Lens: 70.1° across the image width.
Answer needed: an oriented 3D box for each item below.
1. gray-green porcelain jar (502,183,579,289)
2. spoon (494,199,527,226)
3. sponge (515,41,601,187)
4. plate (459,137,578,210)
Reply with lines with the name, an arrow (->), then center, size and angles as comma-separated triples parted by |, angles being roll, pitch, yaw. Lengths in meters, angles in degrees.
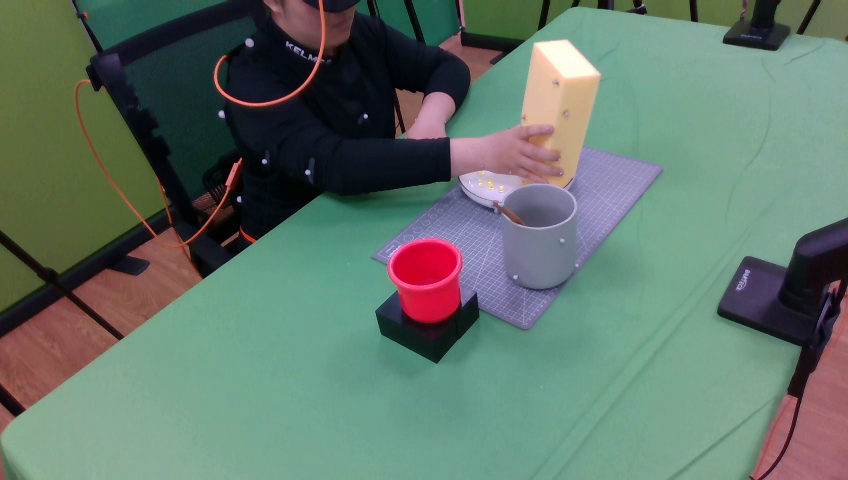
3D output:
gray-green porcelain jar -> 0.167, -0.001, 0.866 | 0.106, 0.127, 0.105 | -5, 40, 5
spoon -> 0.135, -0.016, 0.831 | 0.021, 0.195, 0.041 | -49, 53, -1
sponge -> 0.212, -0.201, 0.989 | 0.061, 0.207, 0.117 | -10, 44, -14
plate -> 0.166, -0.113, 1.069 | 0.207, 0.039, 0.206 | -5, 40, 5
